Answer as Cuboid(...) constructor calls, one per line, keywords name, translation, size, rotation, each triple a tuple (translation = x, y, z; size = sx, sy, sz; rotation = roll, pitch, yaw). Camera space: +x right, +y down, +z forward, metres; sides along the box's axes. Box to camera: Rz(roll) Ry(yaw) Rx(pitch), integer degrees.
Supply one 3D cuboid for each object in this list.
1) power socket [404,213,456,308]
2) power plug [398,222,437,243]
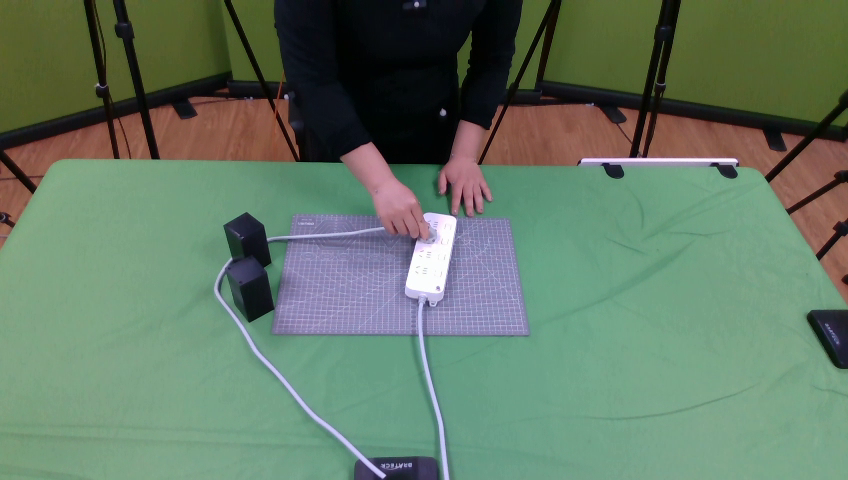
Cuboid(name="power socket", translation=(0.014, 0.030, 1.158), size=(0.072, 0.033, 0.225), rotation=(9, 46, 5))
Cuboid(name="power plug", translation=(-0.009, -0.015, 1.169), size=(0.072, 0.053, 0.035), rotation=(18, 50, 18))
